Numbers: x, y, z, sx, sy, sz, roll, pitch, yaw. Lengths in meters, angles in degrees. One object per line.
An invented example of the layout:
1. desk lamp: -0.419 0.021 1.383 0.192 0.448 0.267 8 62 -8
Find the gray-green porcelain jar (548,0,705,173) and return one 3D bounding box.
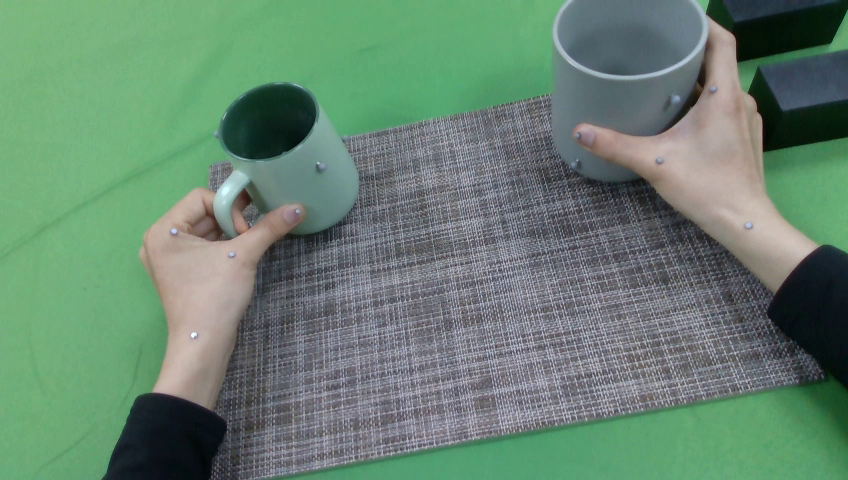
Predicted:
1. gray-green porcelain jar: 0.149 -0.123 0.470 0.106 0.128 0.105 -5 58 9

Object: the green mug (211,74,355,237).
1. green mug: -0.120 -0.057 0.492 0.092 0.106 0.125 28 70 22
